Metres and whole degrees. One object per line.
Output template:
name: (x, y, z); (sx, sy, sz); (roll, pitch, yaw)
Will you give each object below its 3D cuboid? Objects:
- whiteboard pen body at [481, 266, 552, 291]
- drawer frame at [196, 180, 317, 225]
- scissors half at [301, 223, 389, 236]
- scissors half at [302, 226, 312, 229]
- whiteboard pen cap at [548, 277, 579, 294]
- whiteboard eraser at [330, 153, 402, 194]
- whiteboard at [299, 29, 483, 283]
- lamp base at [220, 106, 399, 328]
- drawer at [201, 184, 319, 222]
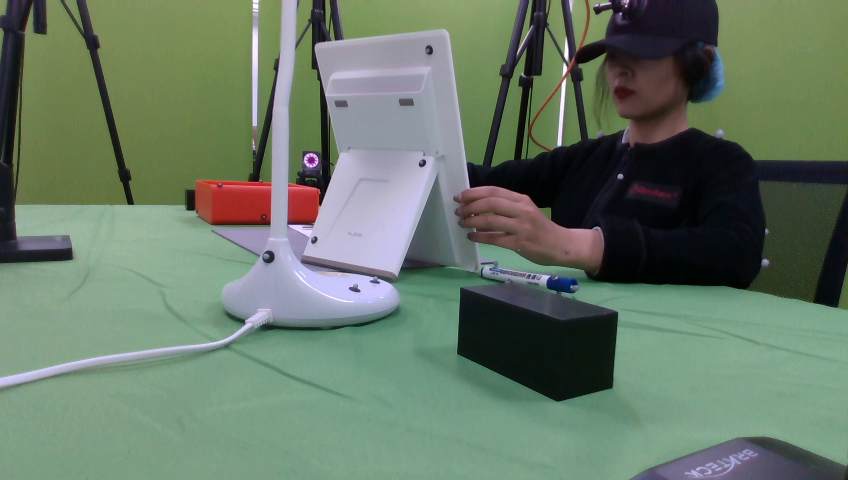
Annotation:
whiteboard pen body: (0.115, 0.045, 0.695); (0.017, 0.017, 0.140); (-3, 6, -35)
drawer frame: (-0.359, -0.083, 1.292); (0.215, 0.082, 0.200); (-2, 10, -30)
scissors half: (-0.152, -0.022, 1.183); (0.176, 0.013, 0.040); (2, 29, -21)
scissors half: (-0.161, -0.032, 1.199); (0.176, 0.013, 0.040); (-8, 28, -38)
whiteboard pen cap: (0.148, 0.049, 0.646); (0.018, 0.018, 0.033); (-3, 3, -36)
whiteboard eraser: (-0.090, -0.097, 0.910); (0.112, 0.042, 0.056); (-1, -40, 43)
whiteboard: (-0.074, -0.082, 0.742); (0.216, 0.305, 0.144); (9, 29, 38)
lamp base: (-0.101, -0.023, 0.531); (0.160, 0.180, 0.179); (4, 10, 10)
drawer: (-0.353, -0.082, 1.296); (0.213, 0.073, 0.193); (-2, 10, -28)
